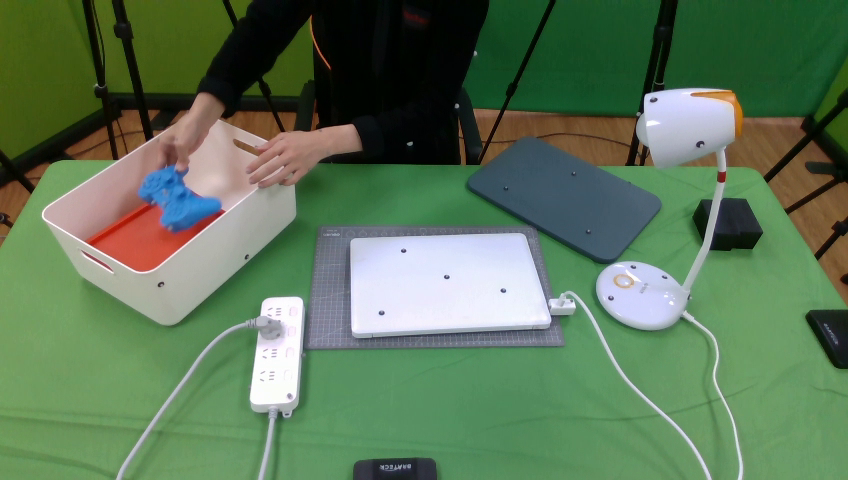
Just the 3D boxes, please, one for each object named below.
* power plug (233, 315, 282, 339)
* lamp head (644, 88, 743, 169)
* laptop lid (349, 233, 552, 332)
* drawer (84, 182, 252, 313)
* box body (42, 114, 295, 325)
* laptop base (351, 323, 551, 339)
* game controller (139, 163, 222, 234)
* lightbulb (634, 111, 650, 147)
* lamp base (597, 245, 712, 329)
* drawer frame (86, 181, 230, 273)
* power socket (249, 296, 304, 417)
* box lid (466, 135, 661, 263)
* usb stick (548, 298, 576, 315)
[{"bbox_3d":[-0.271,0.144,0.999,0.072,0.053,0.035,6,47,3],"label":"power plug"},{"bbox_3d":[0.380,-0.161,0.851,0.122,0.113,0.112,-4,42,25],"label":"lamp head"},{"bbox_3d":[0.040,0.071,1.118,0.357,0.013,0.240,-1,44,-5],"label":"laptop lid"},{"bbox_3d":[-0.458,0.008,1.099,0.194,0.073,0.211,29,49,21],"label":"drawer"},{"bbox_3d":[-0.437,-0.046,1.110,0.253,0.161,0.363,24,49,19],"label":"box body"},{"bbox_3d":[0.040,0.081,1.125,0.355,0.023,0.234,-2,43,-6],"label":"laptop base"},{"bbox_3d":[-0.425,-0.078,1.041,0.097,0.052,0.154,-42,57,-11],"label":"game controller"},{"bbox_3d":[0.348,-0.163,0.852,0.059,0.060,0.107,-36,19,-32],"label":"lightbulb"},{"bbox_3d":[0.418,0.051,1.071,0.179,0.181,0.160,22,49,13],"label":"lamp base"},{"bbox_3d":[-0.453,0.010,1.100,0.201,0.083,0.213,28,55,23],"label":"drawer frame"},{"bbox_3d":[-0.239,0.182,0.996,0.072,0.033,0.225,-2,47,-5],"label":"power socket"},{"bbox_3d":[0.306,-0.102,1.327,0.370,0.015,0.263,32,52,25],"label":"box lid"},{"bbox_3d":[0.240,0.120,1.085,0.059,0.027,0.021,-2,51,-2],"label":"usb stick"}]
